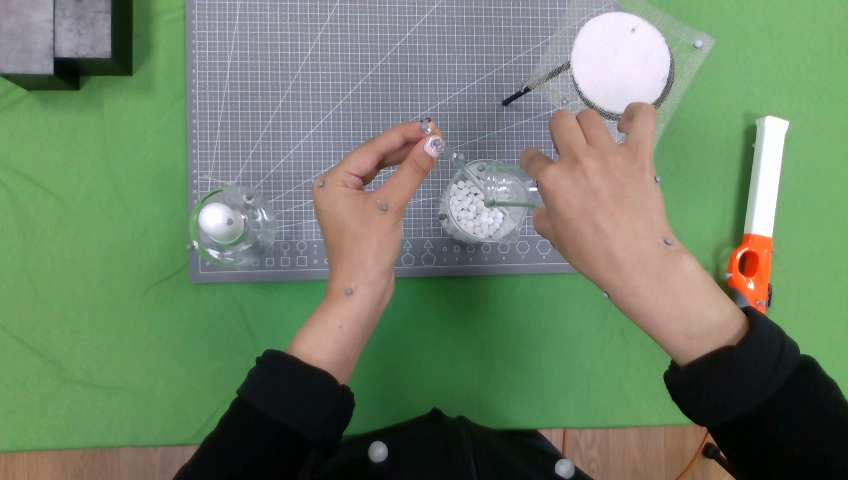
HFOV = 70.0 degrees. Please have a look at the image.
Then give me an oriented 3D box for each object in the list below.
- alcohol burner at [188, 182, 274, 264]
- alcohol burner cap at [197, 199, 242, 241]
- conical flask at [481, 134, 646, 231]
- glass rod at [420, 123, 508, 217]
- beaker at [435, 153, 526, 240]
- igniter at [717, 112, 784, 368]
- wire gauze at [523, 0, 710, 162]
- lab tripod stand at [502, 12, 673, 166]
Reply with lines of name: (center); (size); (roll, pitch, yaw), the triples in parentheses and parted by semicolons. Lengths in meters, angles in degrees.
alcohol burner: (-0.178, -0.016, 0.549); (0.078, 0.119, 0.078); (0, 89, -4)
alcohol burner cap: (-0.175, -0.019, 0.513); (0.034, 0.048, 0.033); (1, 81, -8)
conical flask: (0.107, -0.046, 0.477); (0.122, 0.075, 0.075); (2, 87, 8)
glass rod: (0.040, -0.051, 0.503); (0.008, 0.201, 0.008); (-7, 71, 23)
beaker: (0.051, -0.034, 0.580); (0.074, 0.100, 0.084); (-37, 92, -5)
igniter: (0.350, 0.001, 0.648); (0.057, 0.025, 0.276); (10, 88, -16)
wire gauze: (0.162, -0.150, 0.510); (0.125, 0.011, 0.121); (31, 87, -3)
lab tripod stand: (0.159, -0.145, 0.577); (0.148, 0.131, 0.148); (0, 89, -4)
